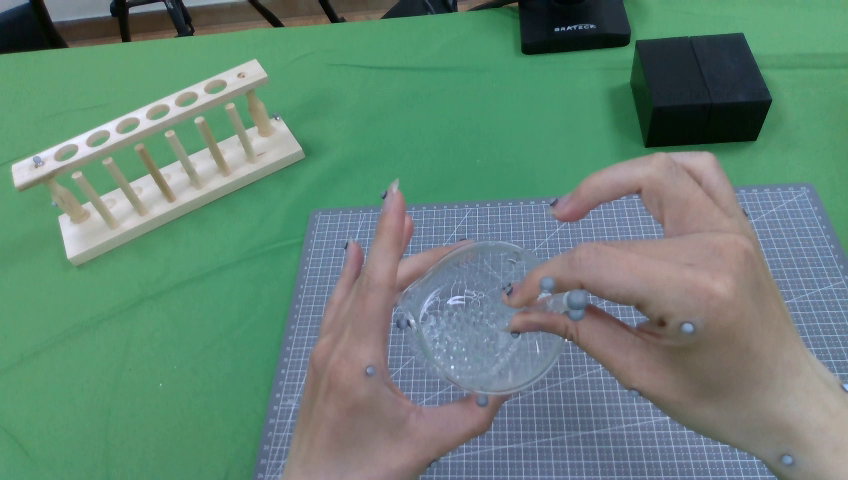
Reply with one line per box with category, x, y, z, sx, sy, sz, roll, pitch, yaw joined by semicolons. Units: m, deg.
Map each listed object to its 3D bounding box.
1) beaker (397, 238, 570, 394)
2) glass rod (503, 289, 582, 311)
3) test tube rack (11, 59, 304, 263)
beaker;0.024;0.044;0.333;0.084;0.100;0.073;11;78;-3
glass rod;0.050;0.030;0.284;0.008;0.200;0.008;0;83;2
test tube rack;-0.250;-0.079;0.590;0.242;0.086;0.066;-28;54;-12
